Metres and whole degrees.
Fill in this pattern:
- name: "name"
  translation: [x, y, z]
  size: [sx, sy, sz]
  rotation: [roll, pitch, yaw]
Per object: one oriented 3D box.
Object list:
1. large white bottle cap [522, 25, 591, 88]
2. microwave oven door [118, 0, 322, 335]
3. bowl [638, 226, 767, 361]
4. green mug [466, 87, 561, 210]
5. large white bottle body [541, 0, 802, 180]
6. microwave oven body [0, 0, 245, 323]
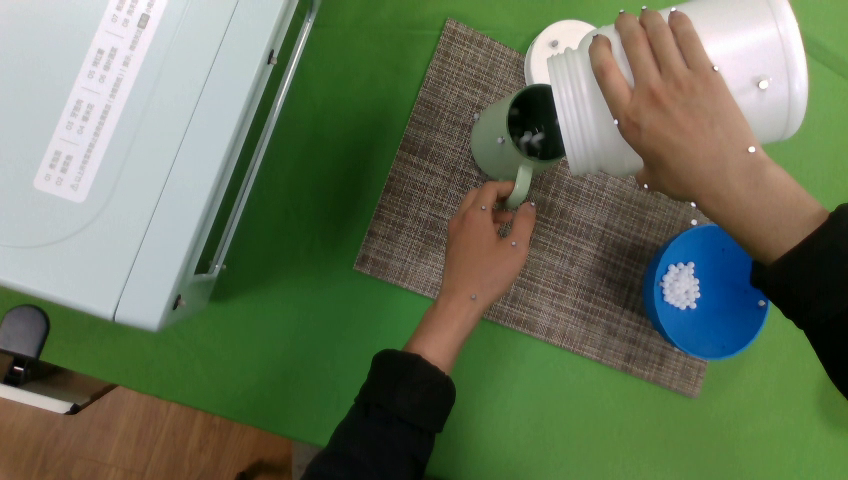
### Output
- name: "large white bottle cap"
  translation: [0.170, -0.193, 0.706]
  size: [0.115, 0.018, 0.114]
  rotation: [2, 84, -15]
- name: "microwave oven door"
  translation: [-0.147, -0.105, 0.495]
  size: [0.039, 0.243, 0.355]
  rotation: [20, 83, -12]
- name: "bowl"
  translation: [0.305, 0.061, 0.702]
  size: [0.152, 0.076, 0.151]
  rotation: [1, 87, -14]
- name: "green mug"
  translation: [0.096, -0.093, 0.641]
  size: [0.093, 0.104, 0.125]
  rotation: [13, 84, -14]
- name: "large white bottle body"
  translation: [0.203, -0.126, 0.522]
  size: [0.184, 0.131, 0.130]
  rotation: [-12, 91, 15]
- name: "microwave oven body"
  translation: [-0.269, -0.195, 0.473]
  size: [0.327, 0.259, 0.440]
  rotation: [20, 84, -13]
